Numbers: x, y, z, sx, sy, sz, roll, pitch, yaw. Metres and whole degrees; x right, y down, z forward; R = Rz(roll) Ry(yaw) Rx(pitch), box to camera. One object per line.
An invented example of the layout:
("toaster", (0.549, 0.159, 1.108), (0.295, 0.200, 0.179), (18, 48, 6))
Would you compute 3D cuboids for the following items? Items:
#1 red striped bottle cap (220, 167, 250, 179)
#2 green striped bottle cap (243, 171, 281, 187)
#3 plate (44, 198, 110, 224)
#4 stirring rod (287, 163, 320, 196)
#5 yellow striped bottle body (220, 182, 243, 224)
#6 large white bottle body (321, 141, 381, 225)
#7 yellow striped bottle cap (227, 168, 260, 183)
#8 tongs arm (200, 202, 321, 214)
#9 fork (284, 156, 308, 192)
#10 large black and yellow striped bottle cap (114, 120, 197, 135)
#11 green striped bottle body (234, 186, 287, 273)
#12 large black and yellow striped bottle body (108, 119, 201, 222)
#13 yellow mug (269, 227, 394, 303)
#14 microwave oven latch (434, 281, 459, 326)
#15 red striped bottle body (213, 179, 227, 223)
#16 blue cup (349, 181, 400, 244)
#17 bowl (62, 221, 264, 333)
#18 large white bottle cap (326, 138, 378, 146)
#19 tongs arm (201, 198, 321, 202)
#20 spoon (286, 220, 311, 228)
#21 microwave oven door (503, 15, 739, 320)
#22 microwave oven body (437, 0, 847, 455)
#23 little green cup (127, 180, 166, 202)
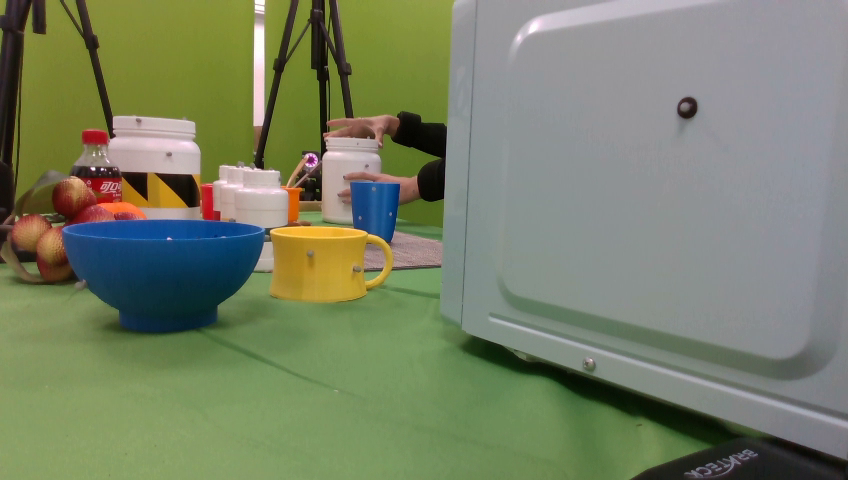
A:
("red striped bottle cap", (-0.281, -0.100, 0.901), (0.044, 0.017, 0.044), (-1, 5, 0))
("green striped bottle cap", (-0.198, -0.074, 0.736), (0.044, 0.020, 0.044), (1, 7, 0))
("plate", (-0.617, -0.056, 1.179), (0.209, 0.038, 0.209), (3, 7, 0))
("stirring rod", (-0.283, -0.108, 1.297), (0.014, 0.006, 0.176), (9, 51, 51))
("yellow striped bottle body", (-0.246, -0.036, 0.825), (0.063, 0.120, 0.063), (3, 8, 0))
("large white bottle body", (-0.162, -0.131, 1.340), (0.131, 0.184, 0.130), (2, 8, 0))
("yellow striped bottle cap", (-0.243, -0.087, 0.818), (0.044, 0.018, 0.044), (3, 6, 0))
("tongs arm", (-0.378, -0.079, 1.440), (0.387, 0.026, 0.050), (-4, 8, -44))
("fork", (-0.295, -0.116, 1.323), (0.028, 0.019, 0.207), (1, 50, 21))
("large black and yellow striped bottle cap", (-0.407, -0.171, 0.920), (0.115, 0.019, 0.115), (2, 9, 0))
("green striped bottle body", (-0.200, -0.023, 0.743), (0.063, 0.119, 0.063), (2, 7, 0))
("large black and yellow striped bottle body", (-0.412, -0.088, 0.930), (0.131, 0.184, 0.130), (3, 7, 0))
("yellow mug", (-0.094, 0.023, 0.629), (0.131, 0.064, 0.099), (0, 6, -22))
("microwave oven latch", (0.044, 0.045, 0.470), (0.079, 0.029, 0.030), (-3, 8, -40))
("red striped bottle body", (-0.284, -0.048, 0.910), (0.063, 0.119, 0.063), (3, 12, 0))
("blue cup", (-0.083, -0.047, 1.012), (0.093, 0.100, 0.092), (2, 6, 0))
("bowl", (-0.209, 0.029, 0.496), (0.151, 0.077, 0.151), (2, 6, 0))
("large white bottle cap", (-0.159, -0.214, 1.328), (0.115, 0.018, 0.115), (2, 9, 0))
("tongs arm", (-0.433, -0.090, 1.508), (0.390, 0.028, 0.028), (-1, 2, -29))
("spoon", (-0.232, -0.027, 1.116), (0.041, 0.021, 0.193), (-22, 6, 4))
("microwave oven door", (0.218, -0.065, 0.600), (0.358, 0.243, 0.039), (-4, 10, -41))
("microwave oven body", (0.279, -0.040, 0.464), (0.444, 0.260, 0.324), (-3, 8, -41))
("little green cup", (-0.486, -0.086, 1.061), (0.061, 0.038, 0.061), (1, 7, 0))
